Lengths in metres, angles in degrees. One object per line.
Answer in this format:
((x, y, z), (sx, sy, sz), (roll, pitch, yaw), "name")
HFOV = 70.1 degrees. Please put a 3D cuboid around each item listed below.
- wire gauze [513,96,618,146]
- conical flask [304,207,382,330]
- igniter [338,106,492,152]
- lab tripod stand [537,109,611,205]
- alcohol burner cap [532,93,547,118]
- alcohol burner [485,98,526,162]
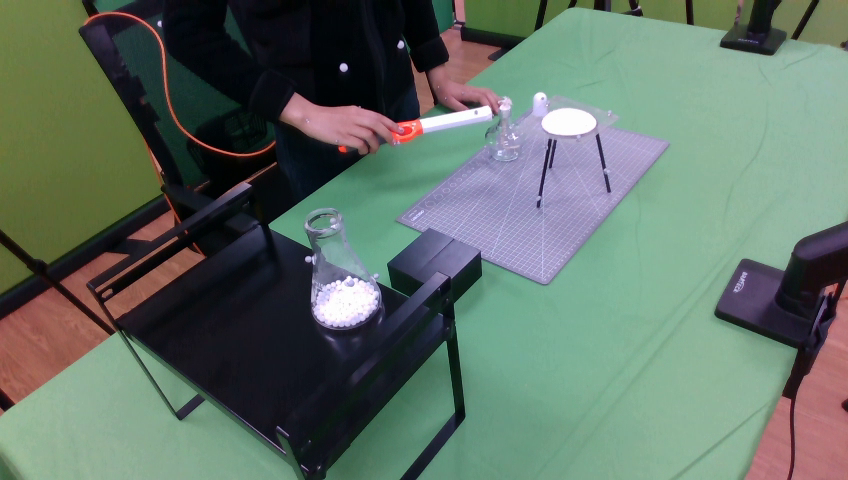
((0.229, -0.190, 0.969), (0.120, 0.011, 0.125), (26, 50, 33), "wire gauze")
((-0.088, 0.025, 0.601), (0.075, 0.122, 0.075), (-5, 40, 5), "conical flask")
((-0.016, -0.195, 1.057), (0.277, 0.025, 0.057), (-13, 43, -8), "igniter")
((0.244, -0.141, 1.014), (0.148, 0.132, 0.147), (-3, 39, 3), "lab tripod stand")
((0.240, -0.281, 1.251), (0.034, 0.048, 0.033), (-4, 42, 4), "alcohol burner cap")
((0.151, -0.208, 1.122), (0.078, 0.119, 0.077), (-5, 38, 4), "alcohol burner")
